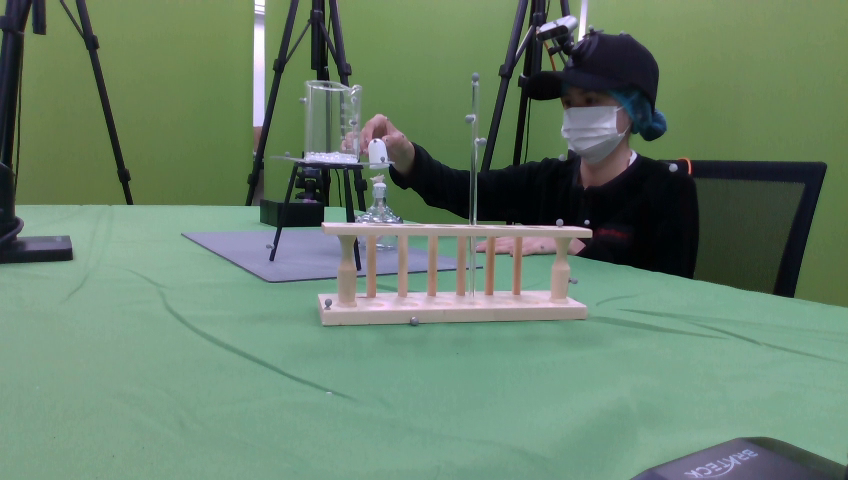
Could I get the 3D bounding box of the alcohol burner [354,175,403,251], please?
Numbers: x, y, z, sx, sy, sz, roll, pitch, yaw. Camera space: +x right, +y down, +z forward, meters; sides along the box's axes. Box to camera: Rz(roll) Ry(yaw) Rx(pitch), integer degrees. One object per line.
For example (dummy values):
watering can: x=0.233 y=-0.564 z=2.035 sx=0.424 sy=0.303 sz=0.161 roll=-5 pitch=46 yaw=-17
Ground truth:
alcohol burner: x=-0.072 y=-0.042 z=0.944 sx=0.078 sy=0.119 sz=0.078 roll=1 pitch=8 yaw=0

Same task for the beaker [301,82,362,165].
beaker: x=-0.117 y=-0.147 z=0.776 sx=0.074 sy=0.100 sz=0.083 roll=-4 pitch=10 yaw=-38

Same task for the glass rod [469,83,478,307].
glass rod: x=0.043 y=-0.033 z=0.523 sx=0.008 sy=0.199 sz=0.008 roll=-1 pitch=14 yaw=1

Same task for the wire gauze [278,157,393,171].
wire gauze: x=-0.122 y=-0.100 z=0.786 sx=0.122 sy=0.011 sz=0.124 roll=-5 pitch=14 yaw=-38

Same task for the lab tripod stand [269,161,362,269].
lab tripod stand: x=-0.125 y=-0.036 z=0.794 sx=0.148 sy=0.131 sz=0.148 roll=5 pitch=7 yaw=0

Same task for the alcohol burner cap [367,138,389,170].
alcohol burner cap: x=-0.072 y=-0.134 z=0.939 sx=0.034 sy=0.048 sz=0.034 roll=-7 pitch=-2 yaw=0

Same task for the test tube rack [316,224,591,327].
test tube rack: x=0.026 y=0.028 z=0.555 sx=0.243 sy=0.085 sz=0.066 roll=1 pitch=7 yaw=-14
